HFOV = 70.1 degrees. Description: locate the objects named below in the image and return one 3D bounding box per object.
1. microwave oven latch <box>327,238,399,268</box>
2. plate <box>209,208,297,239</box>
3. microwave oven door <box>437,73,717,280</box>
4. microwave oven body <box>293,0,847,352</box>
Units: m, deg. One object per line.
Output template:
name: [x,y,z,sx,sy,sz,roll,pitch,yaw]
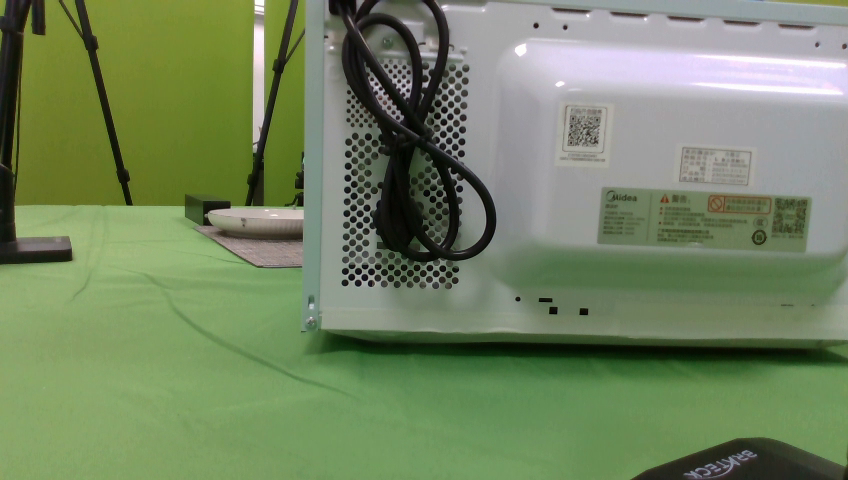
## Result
microwave oven latch: [-0.069,0.015,0.694,0.079,0.029,0.030,3,7,-3]
plate: [-0.271,-0.029,1.074,0.208,0.039,0.207,3,7,0]
microwave oven door: [0.182,-0.090,0.799,0.354,0.243,0.039,7,8,32]
microwave oven body: [0.122,-0.055,0.550,0.442,0.260,0.325,3,7,-5]
